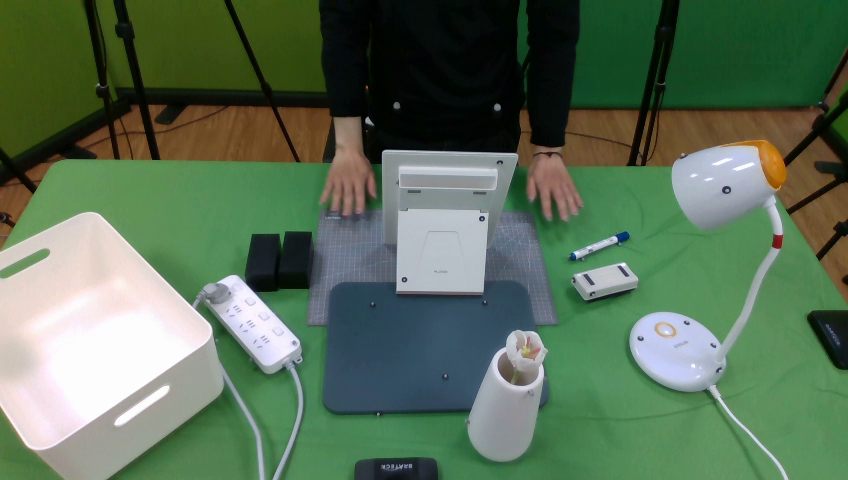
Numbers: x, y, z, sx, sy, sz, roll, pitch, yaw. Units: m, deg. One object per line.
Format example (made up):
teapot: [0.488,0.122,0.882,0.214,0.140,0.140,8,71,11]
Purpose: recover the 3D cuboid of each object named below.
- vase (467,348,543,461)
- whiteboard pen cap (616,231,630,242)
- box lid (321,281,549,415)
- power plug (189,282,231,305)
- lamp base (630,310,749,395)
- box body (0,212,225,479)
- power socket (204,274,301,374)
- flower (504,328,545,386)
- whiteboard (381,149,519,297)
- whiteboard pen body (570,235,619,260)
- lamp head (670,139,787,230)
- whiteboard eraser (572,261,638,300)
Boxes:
vase: [0.116,0.235,0.860,0.098,0.201,0.097,1,48,-1]
whiteboard pen cap: [0.403,-0.007,1.235,0.033,0.018,0.018,-19,50,-24]
box lid: [0.013,0.174,1.040,0.372,0.015,0.261,0,47,-5]
power plug: [-0.368,0.097,1.038,0.072,0.053,0.035,-27,55,-21]
lamp base: [0.447,0.143,0.984,0.161,0.181,0.178,-24,55,-24]
box body: [-0.506,0.155,0.916,0.362,0.161,0.254,35,54,26]
power socket: [-0.296,0.140,1.035,0.072,0.033,0.225,-33,57,-29]
flower: [0.114,0.189,0.790,0.044,0.363,0.038,34,69,19]
whiteboard: [0.033,-0.008,1.042,0.217,0.307,0.143,2,61,-2]
whiteboard pen body: [0.351,0.011,1.215,0.141,0.017,0.017,-20,51,-23]
lamp head: [0.415,-0.079,0.812,0.113,0.123,0.112,12,70,-37]
whiteboard eraser: [0.338,0.079,1.133,0.113,0.042,0.055,-12,46,-15]
